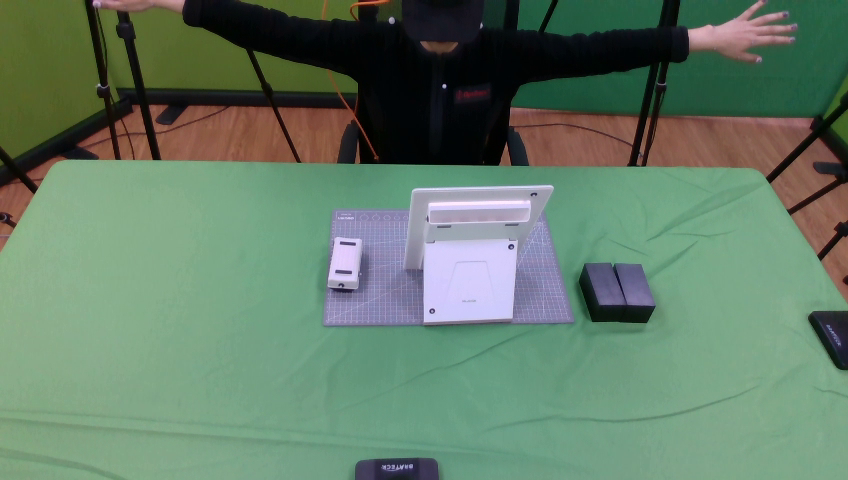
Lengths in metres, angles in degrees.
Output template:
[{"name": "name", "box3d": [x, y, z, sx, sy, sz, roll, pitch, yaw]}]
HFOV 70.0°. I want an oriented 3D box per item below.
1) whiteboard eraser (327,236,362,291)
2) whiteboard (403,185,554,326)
[{"name": "whiteboard eraser", "box3d": [-0.147, 0.044, 1.127, 0.055, 0.042, 0.112, 2, 46, -2]}, {"name": "whiteboard", "box3d": [0.081, 0.044, 1.005, 0.217, 0.306, 0.143, -1, 65, -5]}]
